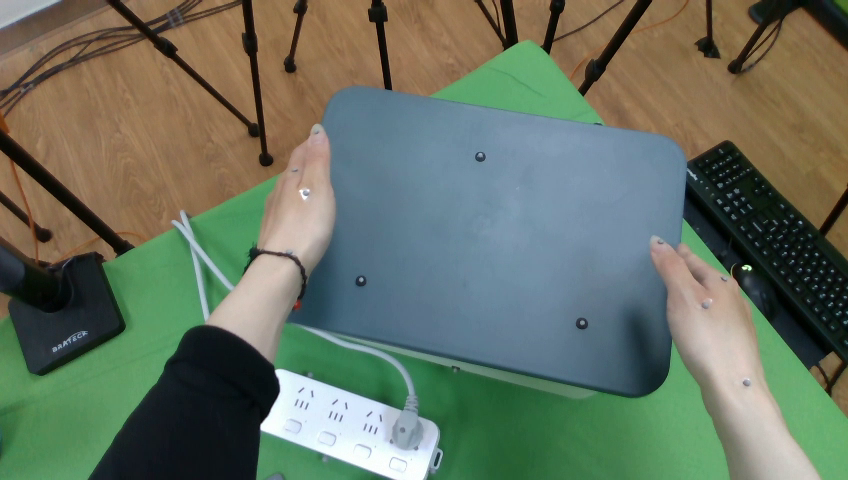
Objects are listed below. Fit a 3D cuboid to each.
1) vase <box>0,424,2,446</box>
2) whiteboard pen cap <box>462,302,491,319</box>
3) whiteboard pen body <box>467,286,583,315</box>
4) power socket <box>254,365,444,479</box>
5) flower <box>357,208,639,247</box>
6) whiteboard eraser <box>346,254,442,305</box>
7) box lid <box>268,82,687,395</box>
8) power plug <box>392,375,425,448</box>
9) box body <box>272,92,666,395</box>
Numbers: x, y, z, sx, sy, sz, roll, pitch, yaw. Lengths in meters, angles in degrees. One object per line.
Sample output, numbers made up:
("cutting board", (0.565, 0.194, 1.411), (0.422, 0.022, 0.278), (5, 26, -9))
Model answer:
("vase", (-0.543, 0.205, 0.627), (0.098, 0.201, 0.097), (-1, 67, 3))
("whiteboard pen cap", (0.064, 0.084, 0.730), (0.033, 0.018, 0.018), (-12, 68, 2))
("whiteboard pen body", (0.120, 0.075, 0.729), (0.141, 0.017, 0.017), (-11, 68, -1))
("power socket", (-0.087, 0.207, 0.690), (0.226, 0.033, 0.072), (17, 70, 10))
("flower", (0.080, -0.010, 0.762), (0.360, 0.038, 0.043), (-1, 63, 19))
("whiteboard eraser", (-0.036, 0.048, 0.734), (0.112, 0.042, 0.055), (3, 70, 3))
("box lid", (0.058, -0.015, 0.580), (0.371, 0.015, 0.262), (11, 71, 6))
("power plug", (-0.008, 0.192, 0.666), (0.035, 0.053, 0.072), (26, 69, 14))
("box body", (0.054, 0.011, 0.688), (0.363, 0.161, 0.252), (13, 70, 8))
